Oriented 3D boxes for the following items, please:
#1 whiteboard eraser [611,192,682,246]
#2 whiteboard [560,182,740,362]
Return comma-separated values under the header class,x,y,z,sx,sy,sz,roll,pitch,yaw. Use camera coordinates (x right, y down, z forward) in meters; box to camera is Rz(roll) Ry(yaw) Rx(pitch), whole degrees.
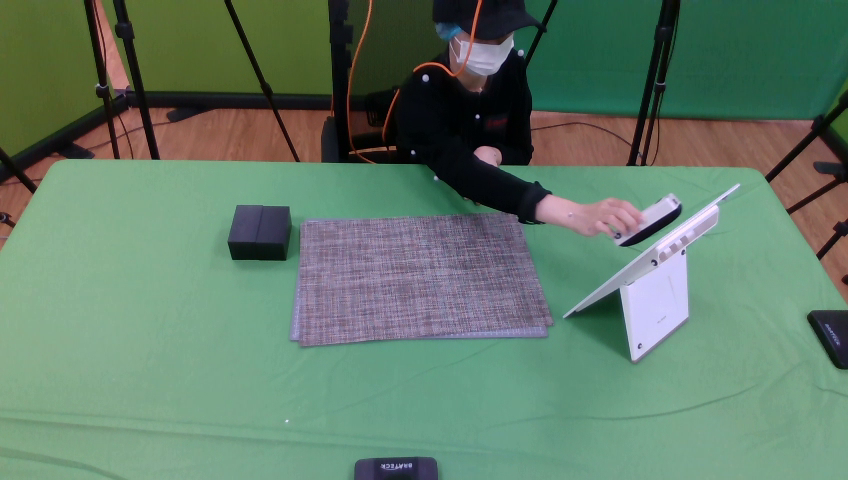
class,x,y,z,sx,sy,sz,roll,pitch,yaw
whiteboard eraser,0.362,-0.030,0.982,0.042,0.113,0.055,53,31,3
whiteboard,0.406,0.075,1.001,0.217,0.306,0.143,-28,73,-28
